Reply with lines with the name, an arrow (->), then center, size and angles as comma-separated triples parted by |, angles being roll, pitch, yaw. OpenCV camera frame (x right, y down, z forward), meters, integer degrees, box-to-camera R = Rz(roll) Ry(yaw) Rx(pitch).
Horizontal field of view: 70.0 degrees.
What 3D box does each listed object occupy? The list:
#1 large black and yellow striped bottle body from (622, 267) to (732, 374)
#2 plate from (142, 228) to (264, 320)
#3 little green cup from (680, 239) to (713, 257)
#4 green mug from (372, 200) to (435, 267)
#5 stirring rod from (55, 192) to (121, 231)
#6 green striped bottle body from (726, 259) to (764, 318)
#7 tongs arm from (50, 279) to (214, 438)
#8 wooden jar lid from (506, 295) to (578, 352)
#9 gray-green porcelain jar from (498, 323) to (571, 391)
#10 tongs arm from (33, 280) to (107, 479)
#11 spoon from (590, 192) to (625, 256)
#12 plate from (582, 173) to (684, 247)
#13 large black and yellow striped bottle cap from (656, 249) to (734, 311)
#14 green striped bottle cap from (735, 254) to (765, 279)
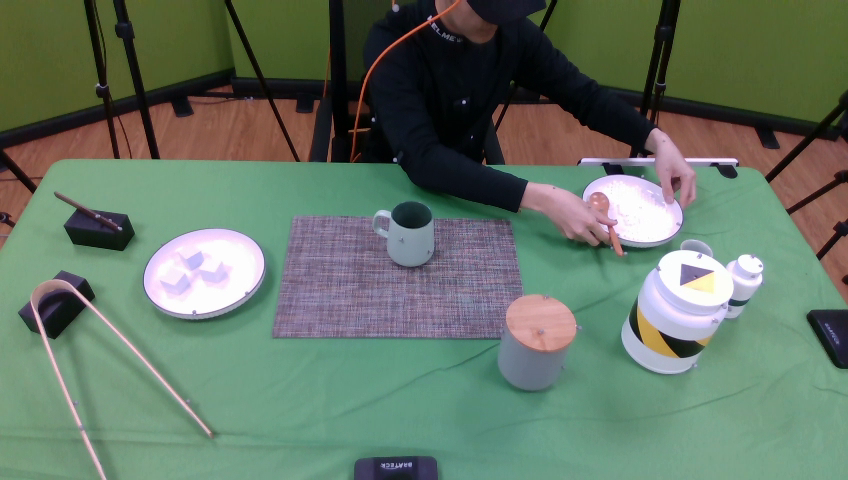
large black and yellow striped bottle body -> 0.415, 0.119, 0.997 | 0.131, 0.185, 0.130 | 2, 46, -2
plate -> -0.394, 0.064, 1.095 | 0.208, 0.039, 0.206 | 2, 46, -2
little green cup -> 0.530, 0.033, 1.189 | 0.061, 0.039, 0.061 | 2, 47, -2
green mug -> -0.040, -0.016, 1.146 | 0.125, 0.105, 0.092 | 17, 48, 13
stirring rod -> -0.632, -0.055, 1.138 | 0.175, 0.014, 0.006 | 24, 50, 19
green striped bottle body -> 0.563, 0.081, 1.089 | 0.063, 0.120, 0.063 | 2, 46, -2
tongs arm -> -0.459, 0.178, 0.949 | 0.386, 0.028, 0.028 | 37, 60, 17
wooden jar lid -> 0.179, 0.129, 0.925 | 0.108, 0.021, 0.107 | 2, 43, -2
gray-green porcelain jar -> 0.176, 0.172, 0.971 | 0.106, 0.127, 0.105 | 2, 46, -2
tongs arm -> -0.517, 0.214, 0.910 | 0.051, 0.026, 0.383 | -29, 63, -27
spoon -> 0.370, -0.035, 1.214 | 0.041, 0.022, 0.192 | -4, 38, 2
plate -> 0.430, -0.058, 1.261 | 0.209, 0.038, 0.208 | 2, 47, -2
large black and yellow striped bottle cap -> 0.419, 0.061, 0.938 | 0.115, 0.019, 0.114 | 2, 47, -2
green striped bottle cap -> 0.566, 0.046, 1.051 | 0.044, 0.020, 0.044 | 0, 45, 0
